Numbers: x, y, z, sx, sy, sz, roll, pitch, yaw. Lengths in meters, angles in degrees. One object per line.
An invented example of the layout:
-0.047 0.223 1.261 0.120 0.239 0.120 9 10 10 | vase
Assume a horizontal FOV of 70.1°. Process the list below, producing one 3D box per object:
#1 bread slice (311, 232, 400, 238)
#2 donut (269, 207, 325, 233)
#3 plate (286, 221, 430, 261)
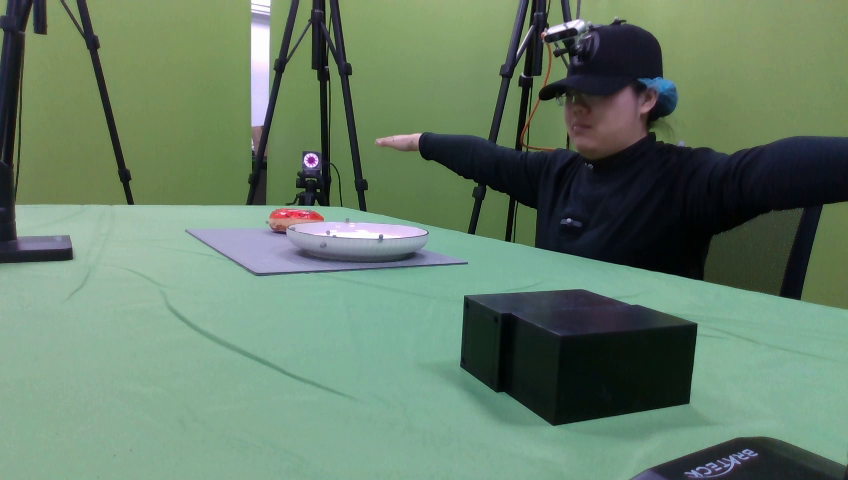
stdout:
-0.101 0.002 0.885 0.135 0.018 0.106 -3 8 -38 | bread slice
-0.230 -0.036 1.098 0.099 0.048 0.099 3 5 0 | donut
-0.096 0.001 0.886 0.209 0.038 0.209 2 7 0 | plate
